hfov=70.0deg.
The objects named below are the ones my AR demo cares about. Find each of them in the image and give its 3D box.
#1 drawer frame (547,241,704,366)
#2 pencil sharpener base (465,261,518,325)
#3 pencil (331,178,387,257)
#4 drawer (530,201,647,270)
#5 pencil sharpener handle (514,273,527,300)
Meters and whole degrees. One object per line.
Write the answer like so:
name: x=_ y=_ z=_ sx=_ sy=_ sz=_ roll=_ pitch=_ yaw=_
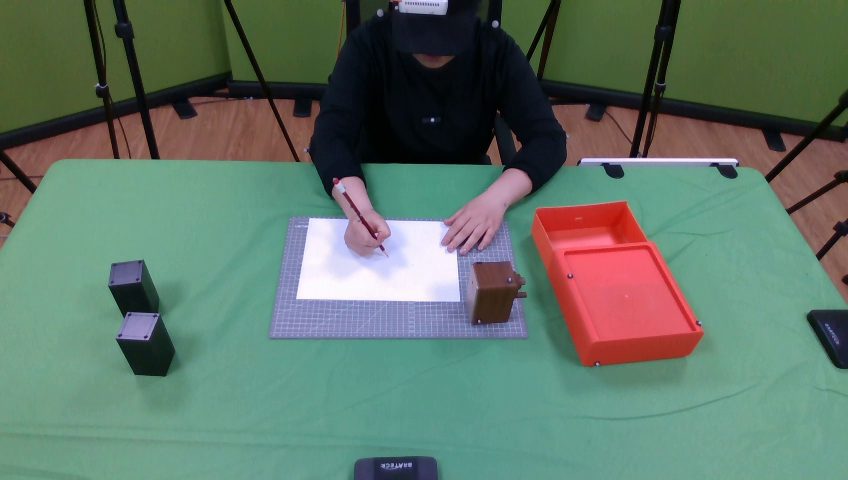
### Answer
drawer frame: x=0.348 y=0.106 z=1.077 sx=0.202 sy=0.083 sz=0.212 roll=-4 pitch=47 yaw=-9
pencil sharpener base: x=0.117 y=0.093 z=1.053 sx=0.077 sy=0.107 sz=0.061 roll=-3 pitch=45 yaw=-7
pencil: x=-0.116 y=-0.038 z=1.117 sx=0.012 sy=0.195 sz=0.012 roll=-23 pitch=32 yaw=15
drawer: x=0.329 y=0.025 z=1.159 sx=0.195 sy=0.073 sz=0.210 roll=-5 pitch=46 yaw=-9
pencil sharpener handle: x=0.169 y=0.081 z=1.051 sx=0.031 sy=0.068 sz=0.035 roll=-3 pitch=48 yaw=-7
